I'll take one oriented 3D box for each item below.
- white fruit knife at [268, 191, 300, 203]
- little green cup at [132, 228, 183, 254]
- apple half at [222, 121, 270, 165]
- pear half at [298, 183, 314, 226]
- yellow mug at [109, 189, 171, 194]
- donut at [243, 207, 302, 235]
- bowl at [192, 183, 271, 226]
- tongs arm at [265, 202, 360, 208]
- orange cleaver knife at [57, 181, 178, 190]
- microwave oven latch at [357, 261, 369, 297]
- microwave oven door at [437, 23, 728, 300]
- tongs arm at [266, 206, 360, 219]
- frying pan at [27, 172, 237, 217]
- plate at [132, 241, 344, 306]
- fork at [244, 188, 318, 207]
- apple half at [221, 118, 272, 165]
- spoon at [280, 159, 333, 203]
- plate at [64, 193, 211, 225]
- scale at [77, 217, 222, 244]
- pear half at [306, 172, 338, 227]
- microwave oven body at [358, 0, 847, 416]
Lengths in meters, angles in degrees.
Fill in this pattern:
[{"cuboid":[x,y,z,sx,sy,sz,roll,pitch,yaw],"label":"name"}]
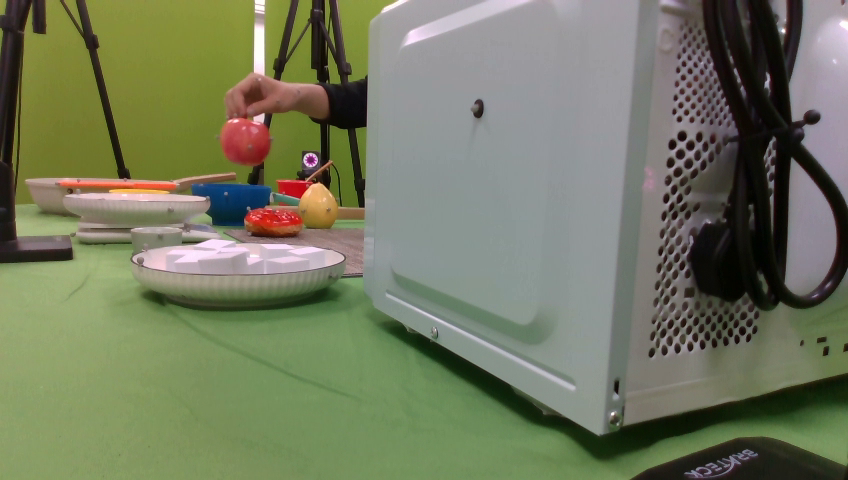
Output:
[{"cuboid":[-0.364,-0.105,1.464,0.208,0.027,0.016,15,-1,-34],"label":"white fruit knife"},{"cuboid":[-0.342,0.006,0.779,0.061,0.038,0.061,2,8,0],"label":"little green cup"},{"cuboid":[-0.305,-0.164,1.031,0.081,0.081,0.032,-1,2,-20],"label":"apple half"},{"cuboid":[-0.235,-0.071,1.207,0.031,0.088,0.070,3,10,0],"label":"pear half"},{"cuboid":[-0.519,-0.055,1.081,0.099,0.064,0.131,7,10,26],"label":"yellow mug"},{"cuboid":[-0.261,-0.032,1.043,0.099,0.048,0.099,4,9,0],"label":"donut"},{"cuboid":[-0.382,-0.070,1.202,0.151,0.077,0.151,3,7,0],"label":"bowl"},{"cuboid":[-0.211,-0.071,1.440,0.389,0.027,0.028,1,1,-17],"label":"tongs arm"},{"cuboid":[-0.600,-0.109,1.189,0.212,0.012,0.077,-1,11,-26],"label":"orange cleaver knife"},{"cuboid":[-0.019,0.033,0.530,0.079,0.029,0.030,-1,7,-26],"label":"microwave oven latch"},{"cuboid":[0.180,-0.073,0.621,0.358,0.243,0.039,-2,8,-29],"label":"microwave oven door"},{"cuboid":[-0.174,-0.061,1.363,0.387,0.026,0.050,-1,5,-31],"label":"tongs arm"},{"cuboid":[-0.624,-0.118,1.387,0.305,0.102,0.490,8,17,32],"label":"frying pan"},{"cuboid":[-0.187,0.033,0.625,0.208,0.039,0.207,2,7,0],"label":"plate"},{"cuboid":[-0.356,-0.105,1.526,0.208,0.018,0.028,16,-5,-41],"label":"fork"},{"cuboid":[-0.291,-0.164,0.995,0.081,0.074,0.053,8,-1,-20],"label":"apple half"},{"cuboid":[-0.316,-0.159,1.640,0.194,0.022,0.041,-49,32,-20],"label":"spoon"},{"cuboid":[-0.446,-0.050,0.952,0.209,0.038,0.209,2,7,0],"label":"plate"},{"cuboid":[-0.434,-0.018,0.963,0.202,0.031,0.148,-1,8,-27],"label":"scale"},{"cuboid":[-0.199,-0.079,1.203,0.056,0.110,0.076,3,11,1],"label":"pear half"},{"cuboid":[0.211,-0.047,0.474,0.444,0.260,0.324,-1,7,-28],"label":"microwave oven body"}]
